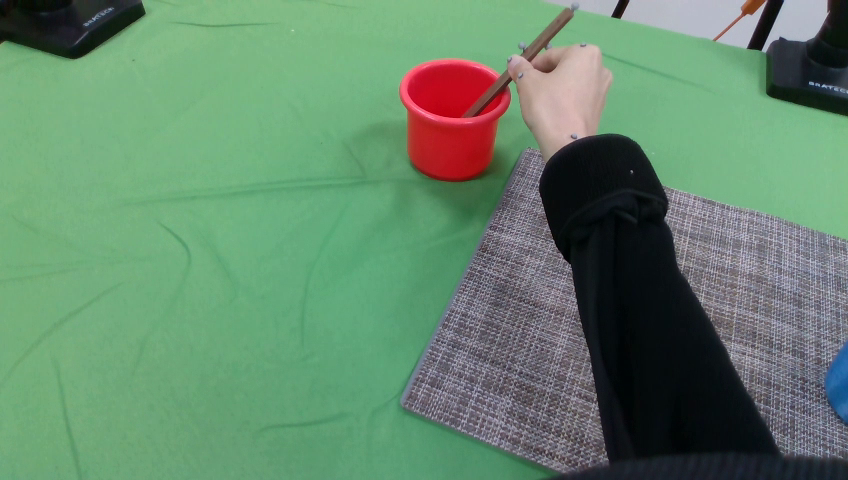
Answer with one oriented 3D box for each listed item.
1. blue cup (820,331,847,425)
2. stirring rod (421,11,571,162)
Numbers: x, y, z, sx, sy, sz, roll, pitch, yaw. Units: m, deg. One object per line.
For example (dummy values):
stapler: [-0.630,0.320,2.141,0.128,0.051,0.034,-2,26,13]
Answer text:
blue cup: [0.310,0.078,0.385,0.093,0.101,0.091,3,48,-3]
stirring rod: [0.059,-0.131,0.530,0.006,0.176,0.014,31,26,-35]
